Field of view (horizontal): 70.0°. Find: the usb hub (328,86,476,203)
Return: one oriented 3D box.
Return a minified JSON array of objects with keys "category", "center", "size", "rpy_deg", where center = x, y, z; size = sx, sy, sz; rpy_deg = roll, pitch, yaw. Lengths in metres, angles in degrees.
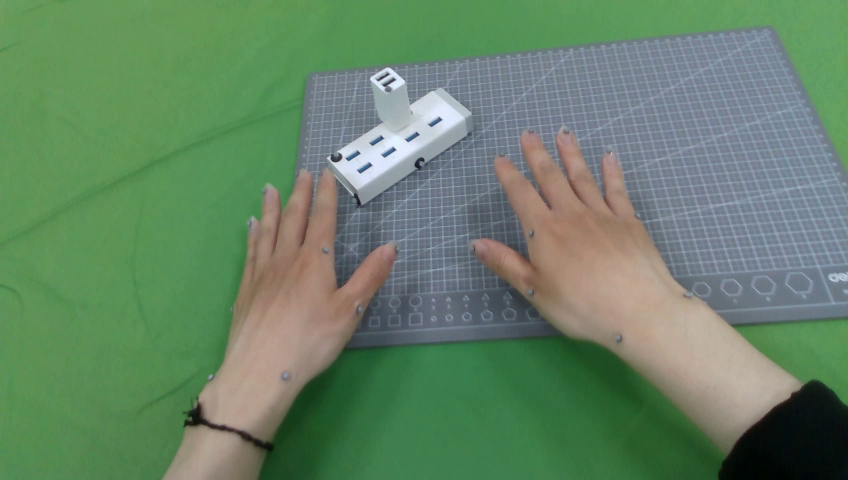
[{"category":"usb hub","center":[-0.018,-0.086,0.527],"size":[0.125,0.025,0.049],"rpy_deg":[-34,59,-14]}]

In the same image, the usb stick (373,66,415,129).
[{"category":"usb stick","center":[-0.024,-0.115,0.512],"size":[0.021,0.060,0.027],"rpy_deg":[-37,58,-15]}]
